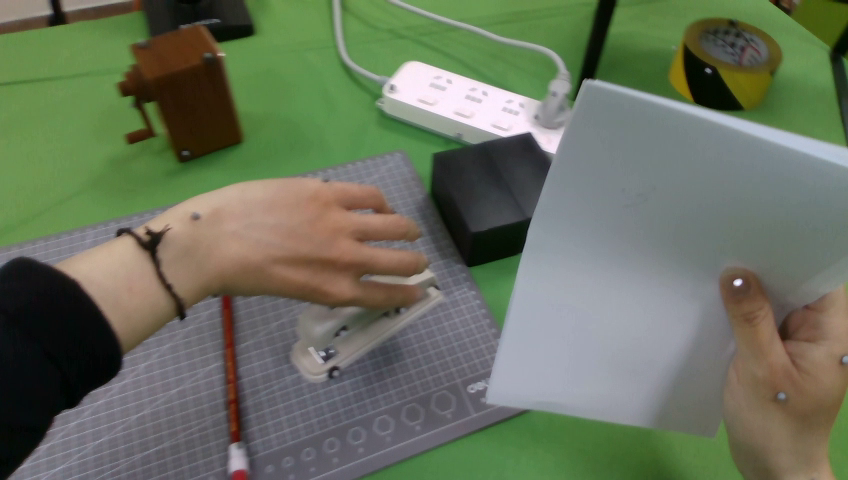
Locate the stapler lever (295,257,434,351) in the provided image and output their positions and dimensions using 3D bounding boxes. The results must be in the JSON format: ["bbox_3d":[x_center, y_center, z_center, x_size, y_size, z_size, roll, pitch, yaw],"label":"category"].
[{"bbox_3d":[-0.044,0.045,0.464,0.118,0.040,0.026,-31,61,-26],"label":"stapler lever"}]

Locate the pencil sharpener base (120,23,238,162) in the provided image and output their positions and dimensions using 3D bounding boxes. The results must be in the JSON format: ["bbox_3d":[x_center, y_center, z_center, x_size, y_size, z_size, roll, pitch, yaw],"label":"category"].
[{"bbox_3d":[-0.232,-0.138,0.579,0.077,0.108,0.061,-27,58,-21],"label":"pencil sharpener base"}]

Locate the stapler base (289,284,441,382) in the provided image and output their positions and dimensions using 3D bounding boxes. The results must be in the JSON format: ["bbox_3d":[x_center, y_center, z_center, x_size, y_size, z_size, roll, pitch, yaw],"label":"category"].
[{"bbox_3d":[-0.046,0.061,0.482,0.130,0.024,0.041,-31,61,-26],"label":"stapler base"}]

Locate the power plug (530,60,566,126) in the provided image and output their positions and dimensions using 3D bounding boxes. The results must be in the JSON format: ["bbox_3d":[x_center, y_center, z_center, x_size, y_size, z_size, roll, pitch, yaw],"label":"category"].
[{"bbox_3d":[0.135,-0.142,0.618,0.035,0.053,0.072,30,57,20],"label":"power plug"}]

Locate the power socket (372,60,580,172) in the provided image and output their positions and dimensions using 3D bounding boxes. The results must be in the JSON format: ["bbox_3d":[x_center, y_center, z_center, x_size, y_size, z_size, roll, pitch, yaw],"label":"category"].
[{"bbox_3d":[0.055,-0.134,0.637,0.226,0.033,0.072,22,53,14],"label":"power socket"}]

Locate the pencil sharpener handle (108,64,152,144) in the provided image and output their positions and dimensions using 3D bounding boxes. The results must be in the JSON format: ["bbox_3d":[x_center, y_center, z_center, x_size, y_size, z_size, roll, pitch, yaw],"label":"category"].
[{"bbox_3d":[-0.272,-0.121,0.547,0.031,0.068,0.035,-27,35,-21],"label":"pencil sharpener handle"}]

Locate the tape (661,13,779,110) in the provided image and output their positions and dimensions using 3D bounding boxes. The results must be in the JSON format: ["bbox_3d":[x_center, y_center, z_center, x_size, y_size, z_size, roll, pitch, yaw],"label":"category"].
[{"bbox_3d":[0.339,-0.206,0.695,0.117,0.053,0.115,2,53,-2],"label":"tape"}]

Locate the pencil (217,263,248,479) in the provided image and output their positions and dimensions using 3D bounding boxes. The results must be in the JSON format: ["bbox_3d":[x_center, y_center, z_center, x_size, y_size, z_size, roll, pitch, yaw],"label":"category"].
[{"bbox_3d":[-0.149,0.092,0.463,0.012,0.012,0.192,-12,52,-11],"label":"pencil"}]
